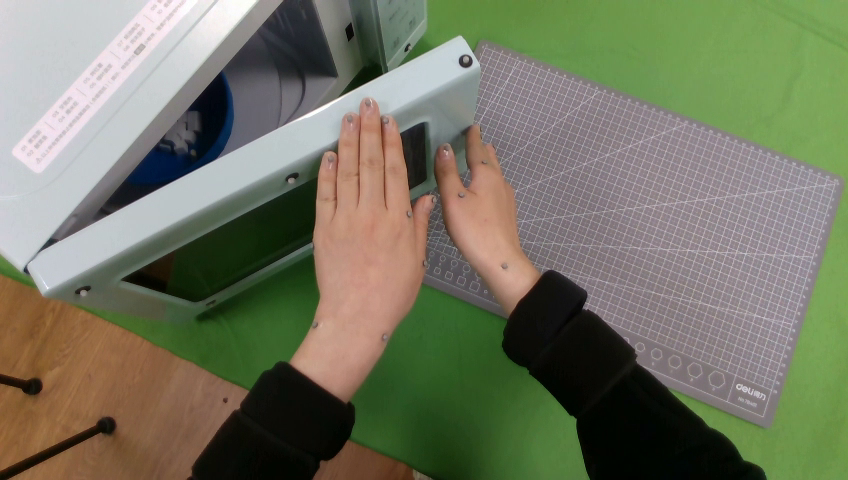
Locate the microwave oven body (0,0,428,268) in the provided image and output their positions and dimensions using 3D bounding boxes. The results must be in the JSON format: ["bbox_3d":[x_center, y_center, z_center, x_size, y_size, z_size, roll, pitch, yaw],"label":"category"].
[{"bbox_3d":[-0.253,-0.206,0.590,0.325,0.261,0.441,37,82,7],"label":"microwave oven body"}]

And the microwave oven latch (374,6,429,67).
[{"bbox_3d":[-0.026,-0.238,0.693,0.030,0.029,0.079,39,82,7],"label":"microwave oven latch"}]

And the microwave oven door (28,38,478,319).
[{"bbox_3d":[-0.117,-0.037,0.551,0.356,0.245,0.039,-29,79,-5],"label":"microwave oven door"}]
